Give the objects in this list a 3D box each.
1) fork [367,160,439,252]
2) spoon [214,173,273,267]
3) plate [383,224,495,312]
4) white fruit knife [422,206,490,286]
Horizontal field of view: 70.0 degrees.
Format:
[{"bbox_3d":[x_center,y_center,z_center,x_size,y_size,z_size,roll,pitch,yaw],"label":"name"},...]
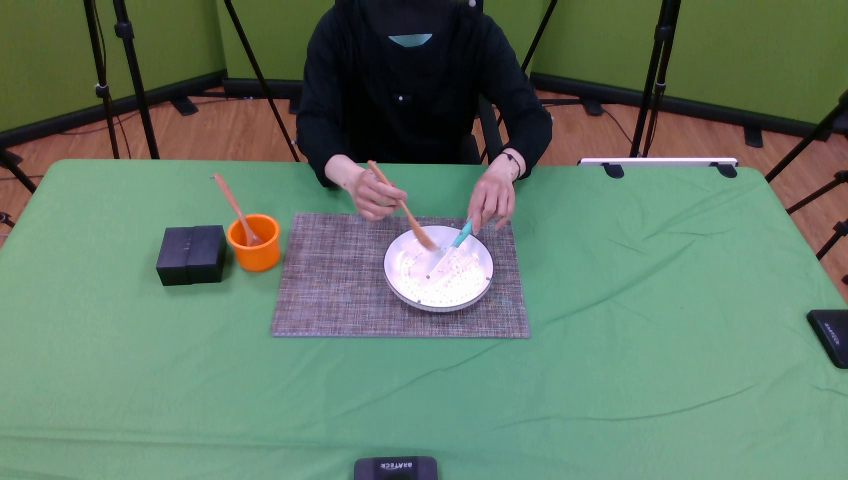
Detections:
[{"bbox_3d":[-0.039,-0.061,1.102,0.207,0.028,0.018,55,43,-6],"label":"fork"},{"bbox_3d":[-0.336,-0.037,1.121,0.041,0.194,0.021,-29,10,-25],"label":"spoon"},{"bbox_3d":[0.026,0.055,1.128,0.209,0.038,0.208,2,46,-2],"label":"plate"},{"bbox_3d":[0.060,0.009,1.126,0.016,0.027,0.207,29,67,26],"label":"white fruit knife"}]
